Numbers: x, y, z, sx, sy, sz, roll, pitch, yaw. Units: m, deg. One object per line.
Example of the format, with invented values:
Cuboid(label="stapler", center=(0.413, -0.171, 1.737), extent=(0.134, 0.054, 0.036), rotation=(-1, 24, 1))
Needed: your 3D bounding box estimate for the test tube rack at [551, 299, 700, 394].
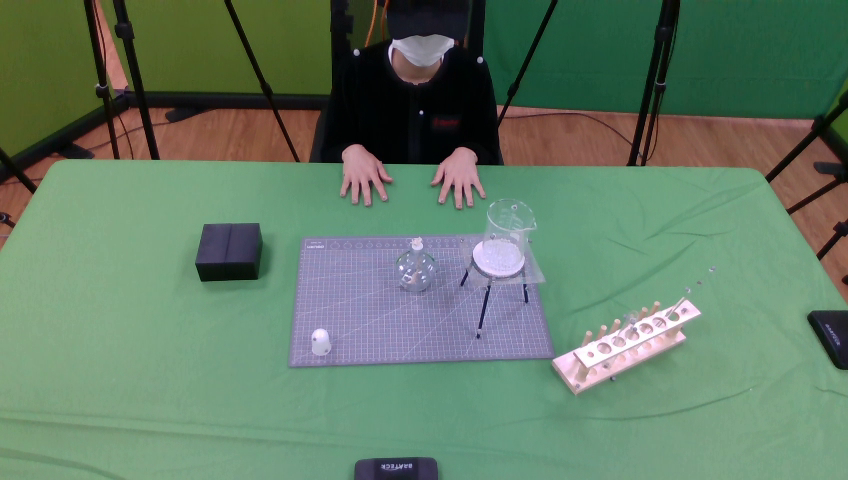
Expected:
Cuboid(label="test tube rack", center=(0.339, 0.166, 1.021), extent=(0.242, 0.085, 0.066), rotation=(-19, 50, -21))

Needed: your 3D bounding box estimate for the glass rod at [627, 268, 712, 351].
Cuboid(label="glass rod", center=(0.400, 0.117, 0.995), extent=(0.008, 0.200, 0.008), rotation=(26, 29, -15))

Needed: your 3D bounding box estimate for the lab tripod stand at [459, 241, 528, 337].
Cuboid(label="lab tripod stand", center=(0.122, 0.075, 1.054), extent=(0.148, 0.132, 0.147), rotation=(3, 44, -3))

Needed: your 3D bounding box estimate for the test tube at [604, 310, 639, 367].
Cuboid(label="test tube", center=(0.310, 0.158, 0.957), extent=(0.017, 0.151, 0.017), rotation=(1, 49, -1))

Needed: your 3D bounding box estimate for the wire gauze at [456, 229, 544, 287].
Cuboid(label="wire gauze", center=(0.125, 0.030, 1.008), extent=(0.125, 0.011, 0.120), rotation=(-3, 48, -11))

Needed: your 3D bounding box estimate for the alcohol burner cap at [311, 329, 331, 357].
Cuboid(label="alcohol burner cap", center=(-0.173, 0.168, 1.005), extent=(0.034, 0.048, 0.033), rotation=(2, 46, -2))

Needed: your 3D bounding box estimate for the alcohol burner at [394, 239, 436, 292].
Cuboid(label="alcohol burner", center=(-0.016, 0.038, 1.093), extent=(0.078, 0.119, 0.077), rotation=(2, 48, -2))

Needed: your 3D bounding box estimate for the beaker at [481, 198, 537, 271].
Cuboid(label="beaker", center=(0.134, -0.005, 0.974), extent=(0.084, 0.101, 0.074), rotation=(23, 49, 16))
